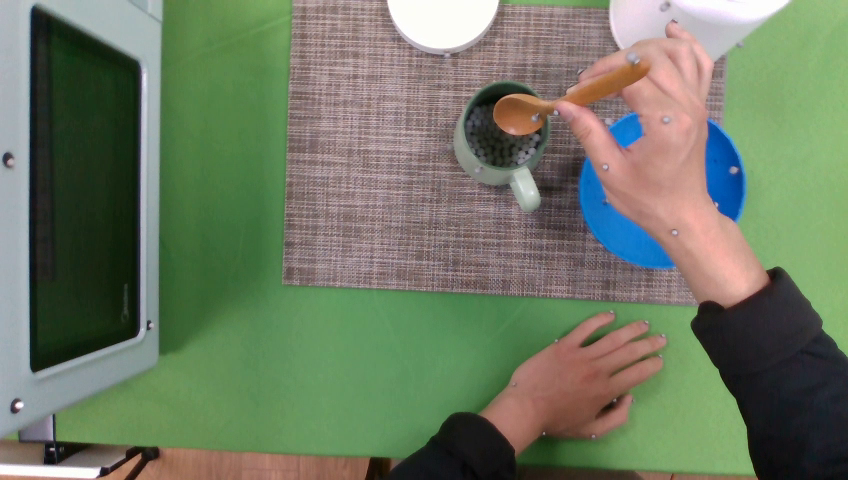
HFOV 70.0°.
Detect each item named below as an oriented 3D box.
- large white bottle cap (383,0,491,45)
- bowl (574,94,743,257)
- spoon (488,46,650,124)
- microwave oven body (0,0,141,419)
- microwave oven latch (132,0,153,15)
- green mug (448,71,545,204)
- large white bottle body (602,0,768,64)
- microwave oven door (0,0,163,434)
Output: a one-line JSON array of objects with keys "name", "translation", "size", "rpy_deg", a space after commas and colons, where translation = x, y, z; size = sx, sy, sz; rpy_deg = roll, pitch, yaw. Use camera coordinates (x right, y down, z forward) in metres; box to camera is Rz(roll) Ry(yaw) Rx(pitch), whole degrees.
[{"name": "large white bottle cap", "translation": [0.013, -0.258, 0.617], "size": [0.115, 0.018, 0.115], "rpy_deg": [0, 91, 2]}, {"name": "bowl", "translation": [0.216, -0.059, 0.591], "size": [0.151, 0.077, 0.151], "rpy_deg": [0, 93, 3]}, {"name": "spoon", "translation": [0.095, -0.106, 0.433], "size": [0.042, 0.192, 0.021], "rpy_deg": [39, 83, -17]}, {"name": "microwave oven body", "translation": [-0.443, -0.091, 0.523], "size": [0.326, 0.260, 0.442], "rpy_deg": [1, 94, 2]}, {"name": "microwave oven latch", "translation": [-0.288, -0.269, 0.604], "size": [0.030, 0.029, 0.079], "rpy_deg": [1, 94, 2]}, {"name": "green mug", "translation": [0.076, -0.094, 0.581], "size": [0.092, 0.105, 0.125], "rpy_deg": [-24, 91, 3]}, {"name": "large white bottle body", "translation": [0.240, -0.244, 0.527], "size": [0.130, 0.185, 0.130], "rpy_deg": [0, 89, 2]}, {"name": "microwave oven door", "translation": [-0.298, -0.046, 0.515], "size": [0.039, 0.243, 0.356], "rpy_deg": [0, 93, 3]}]
